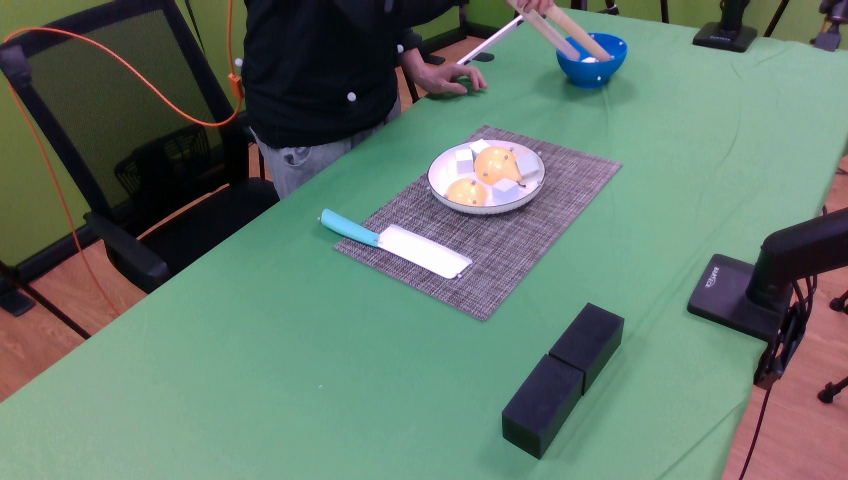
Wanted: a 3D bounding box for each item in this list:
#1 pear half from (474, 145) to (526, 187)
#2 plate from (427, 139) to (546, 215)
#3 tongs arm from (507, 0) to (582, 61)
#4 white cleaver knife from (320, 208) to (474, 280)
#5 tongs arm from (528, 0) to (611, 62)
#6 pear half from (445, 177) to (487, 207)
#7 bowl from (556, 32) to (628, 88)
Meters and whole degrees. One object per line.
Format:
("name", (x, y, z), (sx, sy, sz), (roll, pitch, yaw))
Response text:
("pear half", (0.140, -0.129, 1.059), (0.076, 0.056, 0.109), (-37, 53, -24))
("plate", (0.109, -0.106, 1.059), (0.207, 0.039, 0.206), (-4, 41, 4))
("tongs arm", (0.234, -0.424, 1.183), (0.028, 0.028, 0.391), (33, 13, 34))
("white cleaver knife", (-0.053, 0.001, 0.978), (0.284, 0.021, 0.066), (23, 40, 26))
("tongs arm", (0.266, -0.407, 1.156), (0.050, 0.026, 0.388), (30, 11, 37))
("pear half", (0.073, -0.086, 1.032), (0.070, 0.031, 0.087), (-20, 36, -10))
("bowl", (0.362, -0.384, 1.317), (0.151, 0.077, 0.150), (-4, 41, 4))
